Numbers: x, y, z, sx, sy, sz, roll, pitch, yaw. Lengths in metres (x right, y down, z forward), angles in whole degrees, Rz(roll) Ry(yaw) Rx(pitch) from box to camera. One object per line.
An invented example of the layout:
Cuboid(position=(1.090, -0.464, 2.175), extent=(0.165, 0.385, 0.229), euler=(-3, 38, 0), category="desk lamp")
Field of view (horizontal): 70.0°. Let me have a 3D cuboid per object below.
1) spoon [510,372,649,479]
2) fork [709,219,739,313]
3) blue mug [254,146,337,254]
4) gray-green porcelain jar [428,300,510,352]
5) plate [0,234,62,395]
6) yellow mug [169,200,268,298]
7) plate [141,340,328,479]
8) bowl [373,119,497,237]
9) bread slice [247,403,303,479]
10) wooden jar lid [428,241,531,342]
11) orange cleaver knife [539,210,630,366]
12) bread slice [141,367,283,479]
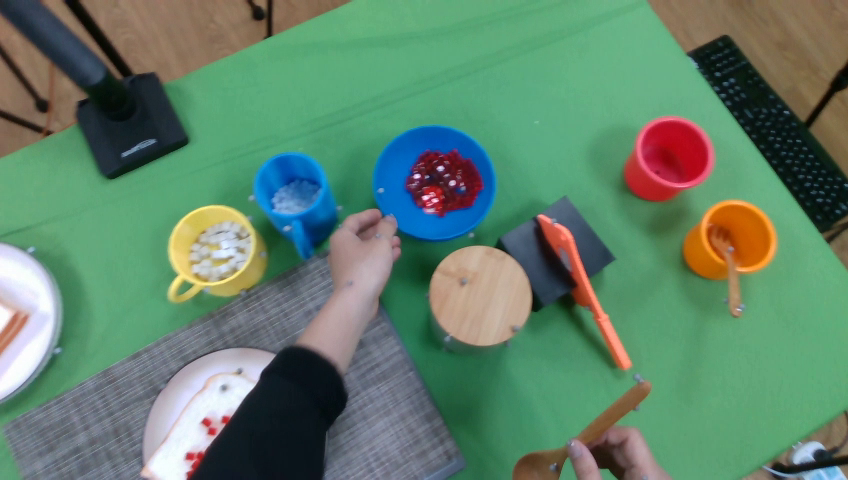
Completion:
Cuboid(position=(0.135, 0.174, 0.538), extent=(0.022, 0.194, 0.041), euler=(-25, 66, -44), category="spoon")
Cuboid(position=(0.354, 0.025, 0.712), extent=(0.028, 0.019, 0.206), euler=(32, 32, 2), category="fork")
Cuboid(position=(-0.152, -0.040, 0.739), extent=(0.082, 0.106, 0.116), euler=(-8, 75, -3), category="blue mug")
Cuboid(position=(0.058, 0.073, 0.703), extent=(0.106, 0.127, 0.105), euler=(1, 74, -2), category="gray-green porcelain jar")
Cuboid(position=(-0.537, 0.094, 0.726), extent=(0.208, 0.039, 0.206), euler=(1, 75, -2), category="plate")
Cuboid(position=(-0.259, 0.020, 0.740), extent=(0.099, 0.064, 0.130), euler=(39, 78, 9), category="yellow mug")
Cuboid(position=(-0.213, 0.220, 0.696), extent=(0.209, 0.038, 0.208), euler=(0, 75, -1), category="plate")
Cuboid(position=(0.012, -0.067, 0.765), extent=(0.151, 0.077, 0.150), euler=(1, 75, -2), category="bowl")
Cuboid(position=(-0.216, 0.234, 0.696), extent=(0.104, 0.019, 0.131), euler=(27, 73, 7), category="bread slice")
Cuboid(position=(0.058, 0.054, 0.642), extent=(0.108, 0.021, 0.108), euler=(1, 76, -4), category="wooden jar lid")
Cuboid(position=(0.192, 0.058, 0.733), extent=(0.012, 0.077, 0.212), euler=(-30, 103, -9), category="orange cleaver knife")
Cuboid(position=(-0.215, 0.204, 0.639), extent=(0.107, 0.018, 0.133), euler=(26, 69, -1), category="bread slice")
